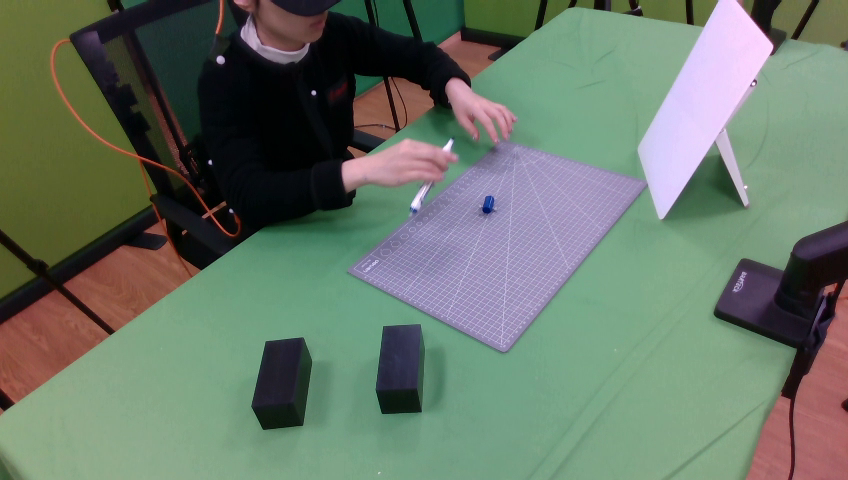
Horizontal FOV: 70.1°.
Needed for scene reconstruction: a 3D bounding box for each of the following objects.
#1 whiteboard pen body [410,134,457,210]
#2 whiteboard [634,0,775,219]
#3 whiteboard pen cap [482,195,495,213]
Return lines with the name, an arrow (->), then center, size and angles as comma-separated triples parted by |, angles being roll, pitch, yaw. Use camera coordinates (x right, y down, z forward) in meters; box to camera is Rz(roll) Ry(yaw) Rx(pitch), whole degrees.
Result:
whiteboard pen body -> 0.017, -0.110, 0.967 | 0.017, 0.017, 0.140 | 28, 87, 34
whiteboard -> 0.485, -0.193, 0.957 | 0.144, 0.305, 0.216 | 14, 41, -4
whiteboard pen cap -> 0.109, -0.060, 1.028 | 0.018, 0.018, 0.033 | 6, 46, 16
